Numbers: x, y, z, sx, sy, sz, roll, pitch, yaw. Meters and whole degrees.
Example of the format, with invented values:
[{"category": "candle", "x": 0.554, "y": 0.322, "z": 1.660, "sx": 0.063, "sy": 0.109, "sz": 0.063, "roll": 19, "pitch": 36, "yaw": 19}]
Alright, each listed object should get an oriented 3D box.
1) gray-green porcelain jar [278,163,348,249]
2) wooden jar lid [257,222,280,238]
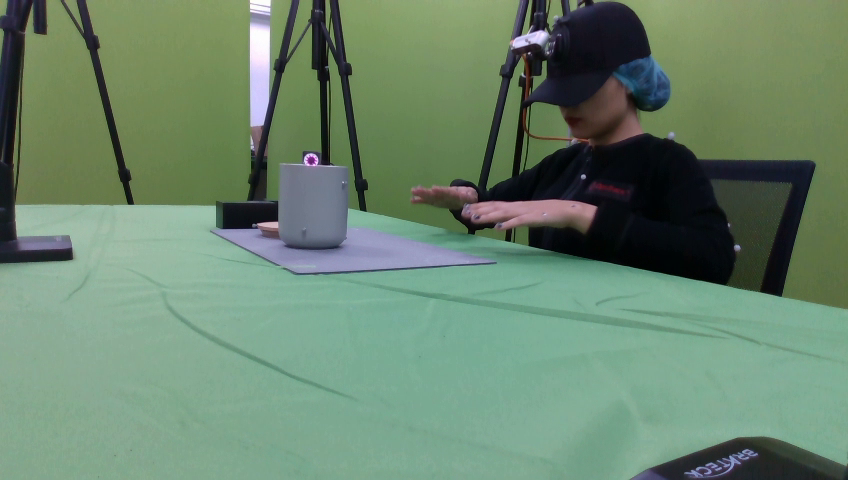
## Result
[{"category": "gray-green porcelain jar", "x": -0.171, "y": -0.053, "z": 0.934, "sx": 0.106, "sy": 0.126, "sz": 0.106, "roll": 2, "pitch": 7, "yaw": 0}, {"category": "wooden jar lid", "x": -0.234, "y": -0.018, "z": 1.053, "sx": 0.108, "sy": 0.020, "sz": 0.108, "roll": 2, "pitch": 9, "yaw": 0}]
